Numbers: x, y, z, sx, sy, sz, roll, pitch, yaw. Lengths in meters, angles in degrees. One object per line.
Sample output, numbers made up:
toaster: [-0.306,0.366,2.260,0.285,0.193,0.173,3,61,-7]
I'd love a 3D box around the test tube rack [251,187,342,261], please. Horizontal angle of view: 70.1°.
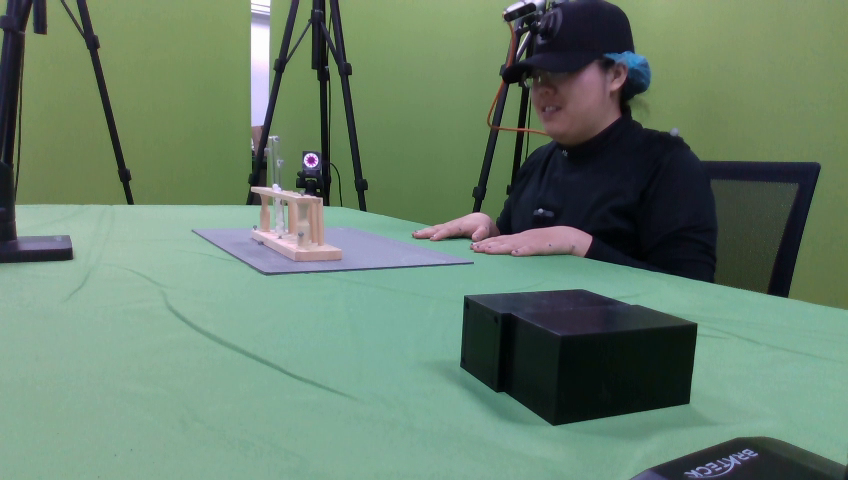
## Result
test tube rack: [-0.196,-0.030,0.902,0.067,0.085,0.241,-2,8,-29]

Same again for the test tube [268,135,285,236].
test tube: [-0.219,-0.081,0.902,0.017,0.150,0.017,-2,6,1]
